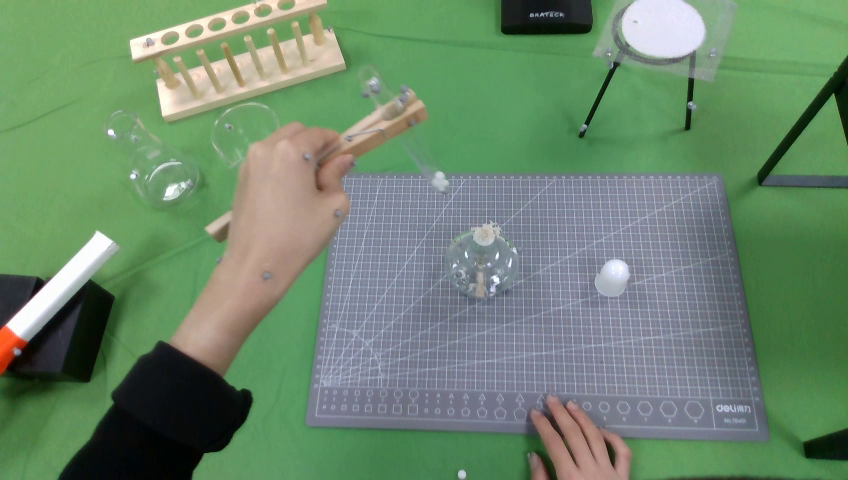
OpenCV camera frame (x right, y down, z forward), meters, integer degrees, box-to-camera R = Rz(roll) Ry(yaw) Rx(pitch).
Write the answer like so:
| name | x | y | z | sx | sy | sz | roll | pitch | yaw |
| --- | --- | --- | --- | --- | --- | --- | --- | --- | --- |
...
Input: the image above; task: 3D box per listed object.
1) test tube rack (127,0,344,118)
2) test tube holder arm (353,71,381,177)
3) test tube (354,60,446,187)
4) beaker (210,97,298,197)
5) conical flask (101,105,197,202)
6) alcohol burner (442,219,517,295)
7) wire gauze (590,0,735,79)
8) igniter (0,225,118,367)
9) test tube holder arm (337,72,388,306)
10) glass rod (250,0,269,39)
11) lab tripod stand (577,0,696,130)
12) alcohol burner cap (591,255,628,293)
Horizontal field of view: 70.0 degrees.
| name | x | y | z | sx | sy | sz | roll | pitch | yaw |
| --- | --- | --- | --- | --- | --- | --- | --- | --- | --- |
| test tube rack | -0.233 | -0.240 | 0.769 | 0.242 | 0.086 | 0.066 | -18 | 65 | -5 |
| test tube holder arm | -0.042 | -0.083 | 0.451 | 0.015 | 0.088 | 0.010 | 7 | 39 | 10 |
| test tube | -0.013 | -0.083 | 0.467 | 0.017 | 0.152 | 0.017 | -10 | 61 | 19 |
| beaker | -0.191 | -0.099 | 0.694 | 0.074 | 0.101 | 0.083 | 15 | 67 | 11 |
| conical flask | -0.317 | -0.102 | 0.690 | 0.075 | 0.123 | 0.074 | -2 | 65 | 4 |
| alcohol burner | 0.057 | 0.011 | 0.614 | 0.078 | 0.120 | 0.077 | -1 | 64 | 2 |
| wire gauze | 0.250 | -0.227 | 0.629 | 0.121 | 0.011 | 0.124 | 21 | 69 | 11 |
| igniter | -0.419 | 0.097 | 0.605 | 0.057 | 0.025 | 0.276 | 27 | 69 | 25 |
| test tube holder arm | -0.046 | -0.040 | 0.451 | 0.015 | 0.013 | 0.178 | 6 | 81 | 7 |
| glass rod | -0.212 | -0.300 | 0.722 | 0.008 | 0.201 | 0.008 | -5 | 58 | 8 |
| lab tripod stand | 0.247 | -0.196 | 0.690 | 0.148 | 0.132 | 0.147 | -1 | 64 | 2 |
| alcohol burner cap | 0.196 | 0.033 | 0.635 | 0.034 | 0.048 | 0.033 | -1 | 65 | 3 |
